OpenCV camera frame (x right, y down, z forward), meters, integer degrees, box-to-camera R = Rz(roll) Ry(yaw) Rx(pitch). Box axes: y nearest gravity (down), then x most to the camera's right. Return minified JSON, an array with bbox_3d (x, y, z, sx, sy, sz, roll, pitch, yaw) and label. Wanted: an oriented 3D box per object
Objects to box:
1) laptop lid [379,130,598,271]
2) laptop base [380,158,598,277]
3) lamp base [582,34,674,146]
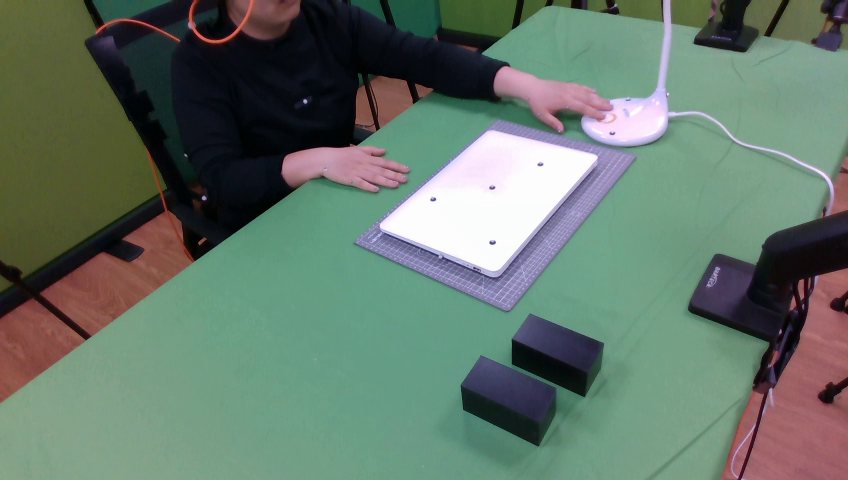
[{"bbox_3d":[0.117,-0.087,1.037,0.240,0.013,0.358,22,48,33],"label":"laptop lid"},{"bbox_3d":[0.120,-0.077,1.043,0.233,0.023,0.355,20,47,32],"label":"laptop base"},{"bbox_3d":[0.393,-0.291,1.129,0.180,0.181,0.159,-11,41,-8],"label":"lamp base"}]
